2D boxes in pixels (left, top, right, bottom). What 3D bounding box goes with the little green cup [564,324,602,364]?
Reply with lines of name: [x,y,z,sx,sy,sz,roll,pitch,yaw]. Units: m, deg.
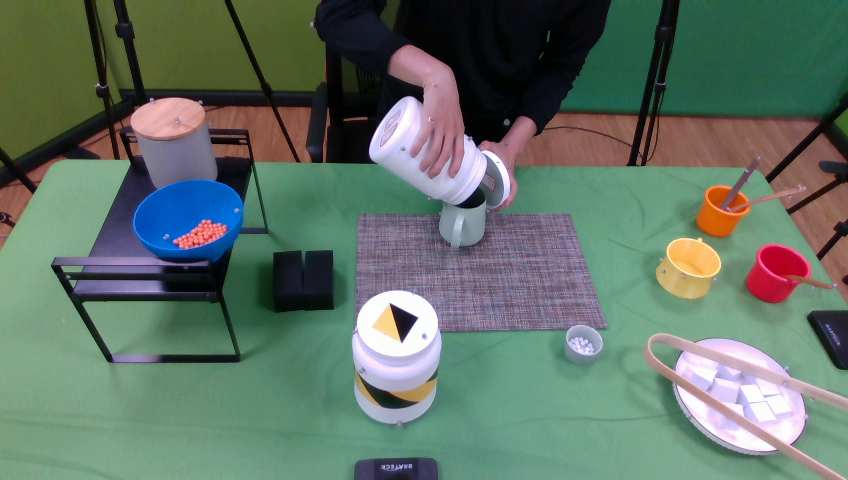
little green cup: [0.269,0.179,1.036,0.061,0.039,0.061,2,45,-2]

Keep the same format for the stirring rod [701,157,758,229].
stirring rod: [0.634,-0.097,1.257,0.014,0.006,0.176,38,97,29]

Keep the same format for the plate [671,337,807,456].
plate: [0.503,0.254,0.984,0.208,0.039,0.206,2,46,-2]

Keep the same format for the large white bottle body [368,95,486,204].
large white bottle body: [0.009,-0.155,1.080,0.185,0.130,0.130,31,41,-24]

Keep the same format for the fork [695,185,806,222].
fork: [0.658,-0.074,1.230,0.207,0.019,0.028,-23,36,37]

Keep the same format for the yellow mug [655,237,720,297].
yellow mug: [0.509,0.041,1.167,0.099,0.064,0.130,24,48,18]

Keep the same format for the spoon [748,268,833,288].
spoon: [0.660,0.068,1.097,0.041,0.193,0.021,-3,91,-6]

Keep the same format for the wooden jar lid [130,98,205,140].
wooden jar lid: [-0.393,-0.183,0.934,0.108,0.021,0.107,2,44,-2]

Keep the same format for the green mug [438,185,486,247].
green mug: [0.072,-0.039,1.178,0.092,0.105,0.124,12,47,7]

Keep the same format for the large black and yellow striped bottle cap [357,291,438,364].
large black and yellow striped bottle cap: [-0.037,0.121,0.851,0.115,0.019,0.114,2,46,-1]

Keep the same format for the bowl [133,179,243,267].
bowl: [-0.339,-0.013,0.895,0.151,0.077,0.150,2,46,-2]

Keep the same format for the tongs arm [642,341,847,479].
tongs arm: [0.504,0.278,0.917,0.386,0.028,0.028,34,58,22]

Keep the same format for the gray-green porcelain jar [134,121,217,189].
gray-green porcelain jar: [-0.397,-0.141,0.980,0.106,0.127,0.105,2,47,-2]

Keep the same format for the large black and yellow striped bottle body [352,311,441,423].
large black and yellow striped bottle body: [-0.042,0.178,0.912,0.131,0.185,0.130,2,46,-2]

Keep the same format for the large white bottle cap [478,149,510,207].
large white bottle cap: [0.120,-0.120,1.173,0.018,0.115,0.114,-24,53,-31]

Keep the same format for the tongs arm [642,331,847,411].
tongs arm: [0.546,0.227,0.968,0.384,0.026,0.050,22,52,13]
